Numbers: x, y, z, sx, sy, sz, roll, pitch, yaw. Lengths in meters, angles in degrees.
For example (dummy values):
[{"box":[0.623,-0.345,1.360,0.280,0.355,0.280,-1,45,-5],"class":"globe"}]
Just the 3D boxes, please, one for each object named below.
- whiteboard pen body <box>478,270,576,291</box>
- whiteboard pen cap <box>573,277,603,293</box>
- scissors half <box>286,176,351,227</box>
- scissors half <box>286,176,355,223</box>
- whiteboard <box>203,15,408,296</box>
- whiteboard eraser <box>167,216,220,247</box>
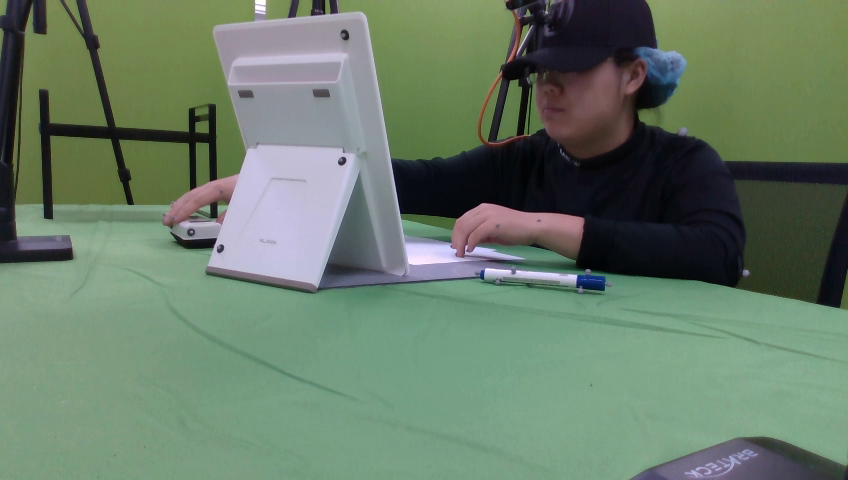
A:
[{"box":[0.131,0.048,0.706,0.140,0.017,0.017,4,7,18],"class":"whiteboard pen body"},{"box":[0.186,0.051,0.687,0.033,0.018,0.018,4,8,17],"class":"whiteboard pen cap"},{"box":[-0.233,-0.085,1.318,0.175,0.013,0.040,39,24,3],"class":"scissors half"},{"box":[-0.229,-0.091,1.337,0.175,0.013,0.040,33,20,-13],"class":"scissors half"},{"box":[-0.166,-0.072,0.669,0.216,0.305,0.144,8,30,30],"class":"whiteboard"},{"box":[-0.350,-0.013,0.919,0.056,0.042,0.112,-2,8,-34],"class":"whiteboard eraser"}]
